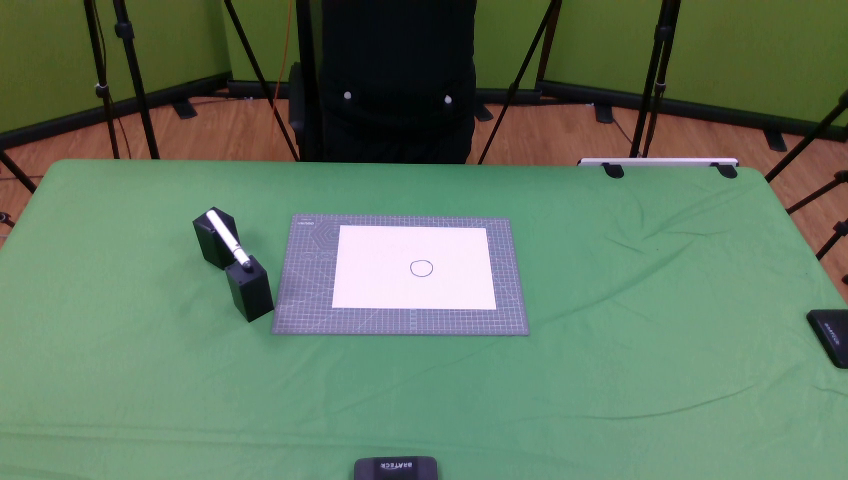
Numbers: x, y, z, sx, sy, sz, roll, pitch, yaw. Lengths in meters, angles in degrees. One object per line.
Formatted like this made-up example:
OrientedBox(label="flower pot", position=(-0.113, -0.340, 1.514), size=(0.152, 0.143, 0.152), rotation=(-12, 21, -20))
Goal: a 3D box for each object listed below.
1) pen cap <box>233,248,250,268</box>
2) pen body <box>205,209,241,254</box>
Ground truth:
OrientedBox(label="pen cap", position=(-0.303, 0.031, 1.008), size=(0.017, 0.017, 0.038), rotation=(-28, 55, -28))
OrientedBox(label="pen body", position=(-0.340, -0.006, 1.042), size=(0.017, 0.017, 0.143), rotation=(-27, 53, -27))
